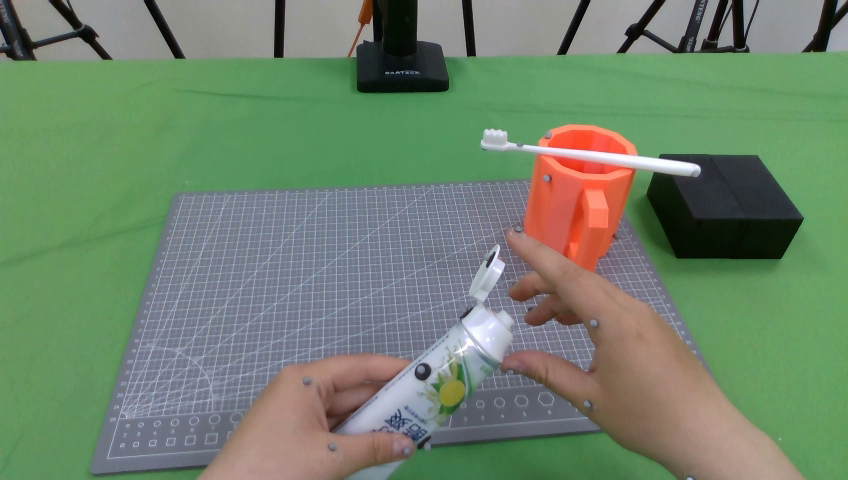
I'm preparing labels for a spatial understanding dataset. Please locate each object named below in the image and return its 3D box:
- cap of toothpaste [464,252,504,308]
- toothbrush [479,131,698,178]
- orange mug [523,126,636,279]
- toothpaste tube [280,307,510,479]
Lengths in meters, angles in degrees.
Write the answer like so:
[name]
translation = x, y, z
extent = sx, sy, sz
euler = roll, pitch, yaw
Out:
[cap of toothpaste]
translation = 0.037, 0.024, 0.353
extent = 0.011, 0.037, 0.037
euler = 31, 46, 3
[toothbrush]
translation = 0.137, -0.071, 0.509
extent = 0.181, 0.017, 0.014
euler = 10, 35, 8
[orange mug]
translation = 0.139, -0.030, 0.542
extent = 0.083, 0.101, 0.125
euler = 3, 38, 0
[toothpaste tube]
translation = -0.012, 0.101, 0.360
extent = 0.165, 0.055, 0.034
euler = -46, 22, 5
